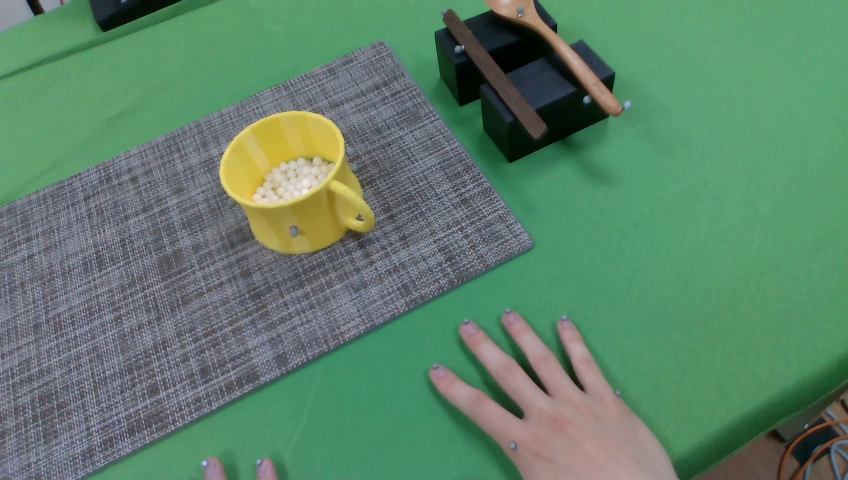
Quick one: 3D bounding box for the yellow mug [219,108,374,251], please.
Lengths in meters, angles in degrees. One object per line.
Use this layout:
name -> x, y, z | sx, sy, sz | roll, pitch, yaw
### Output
yellow mug -> -0.094, -0.044, 0.492 | 0.130, 0.064, 0.099 | 25, 65, 22

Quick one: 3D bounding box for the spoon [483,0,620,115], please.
spoon -> 0.105, -0.172, 0.516 | 0.041, 0.022, 0.191 | -26, 59, -9

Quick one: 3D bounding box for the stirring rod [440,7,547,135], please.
stirring rod -> 0.054, -0.147, 0.510 | 0.014, 0.006, 0.174 | -47, 53, 24
